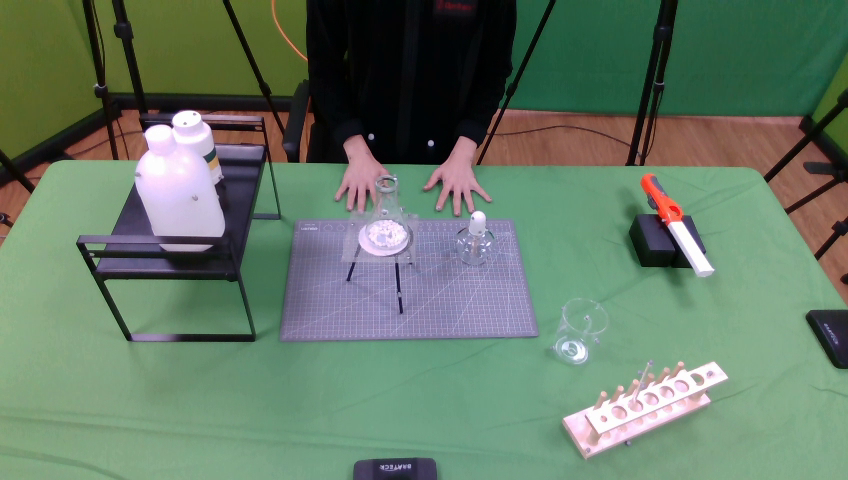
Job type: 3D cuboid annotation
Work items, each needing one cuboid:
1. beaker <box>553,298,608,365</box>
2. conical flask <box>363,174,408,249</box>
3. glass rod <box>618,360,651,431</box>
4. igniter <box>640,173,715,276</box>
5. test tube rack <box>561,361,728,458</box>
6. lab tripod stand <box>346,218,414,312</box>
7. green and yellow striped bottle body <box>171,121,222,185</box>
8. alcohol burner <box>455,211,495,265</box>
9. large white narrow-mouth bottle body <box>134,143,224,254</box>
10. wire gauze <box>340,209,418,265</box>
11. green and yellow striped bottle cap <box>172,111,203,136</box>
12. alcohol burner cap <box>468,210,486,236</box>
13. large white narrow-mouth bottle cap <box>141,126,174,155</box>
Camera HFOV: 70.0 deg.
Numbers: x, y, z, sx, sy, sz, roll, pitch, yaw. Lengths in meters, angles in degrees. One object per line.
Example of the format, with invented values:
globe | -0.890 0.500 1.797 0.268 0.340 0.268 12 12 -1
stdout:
beaker | 0.260 0.154 1.015 0.073 0.101 0.084 37 54 27
conical flask | -0.063 -0.050 0.985 0.075 0.122 0.075 2 46 -2
glass rod | 0.298 0.227 0.865 0.008 0.201 0.008 -2 48 2
igniter | 0.495 -0.039 1.204 0.057 0.025 0.274 -2 47 -13
test tube rack | 0.341 0.248 0.940 0.243 0.085 0.066 -15 49 -18
lab tripod stand | -0.070 0.037 1.075 0.148 0.132 0.147 1 47 -1
green and yellow striped bottle body | -0.375 -0.149 0.995 0.063 0.120 0.063 2 46 -2
alcohol burner | 0.097 -0.010 1.147 0.078 0.120 0.077 1 47 0
large white narrow-mouth bottle body | -0.358 -0.075 0.875 0.102 0.195 0.101 1 48 -1
wire gauze | -0.074 -0.006 1.024 0.121 0.011 0.124 2 48 1
green and yellow striped bottle cap | -0.374 -0.185 0.958 0.045 0.020 0.045 4 46 -4
alcohol burner cap | 0.099 -0.034 1.119 0.034 0.048 0.033 0 52 0
large white narrow-mouth bottle cap | -0.356 -0.133 0.811 0.038 0.024 0.037 2 48 -2
